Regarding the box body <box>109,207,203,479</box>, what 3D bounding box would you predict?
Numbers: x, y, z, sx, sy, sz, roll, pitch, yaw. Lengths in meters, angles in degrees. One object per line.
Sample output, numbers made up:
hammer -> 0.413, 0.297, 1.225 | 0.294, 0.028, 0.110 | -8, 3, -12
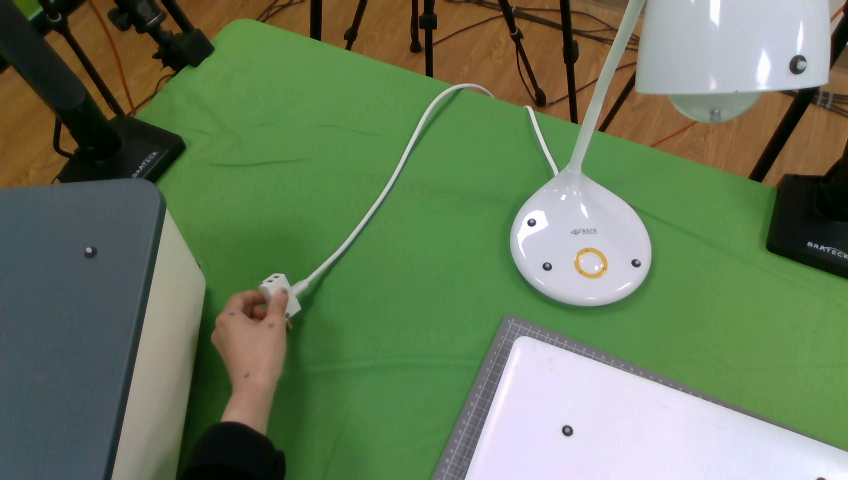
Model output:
box body -> -0.359, 0.142, 0.537 | 0.254, 0.162, 0.360 | -3, 58, -1

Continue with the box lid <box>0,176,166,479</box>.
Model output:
box lid -> -0.361, 0.101, 0.475 | 0.263, 0.015, 0.368 | -3, 59, -1

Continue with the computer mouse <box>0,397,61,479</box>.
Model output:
computer mouse -> -0.388, 0.188, 0.567 | 0.063, 0.041, 0.116 | -29, 22, -6

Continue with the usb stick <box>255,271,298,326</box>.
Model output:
usb stick -> -0.155, 0.064, 0.650 | 0.021, 0.059, 0.027 | 3, 29, 42

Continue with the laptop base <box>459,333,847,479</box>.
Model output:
laptop base -> 0.211, 0.244, 0.548 | 0.353, 0.023, 0.234 | 19, 64, 12

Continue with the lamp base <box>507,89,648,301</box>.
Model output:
lamp base -> 0.170, -0.053, 0.639 | 0.161, 0.182, 0.177 | -13, 56, -7

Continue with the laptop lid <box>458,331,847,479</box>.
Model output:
laptop lid -> 0.210, 0.239, 0.537 | 0.355, 0.013, 0.240 | 20, 63, 13

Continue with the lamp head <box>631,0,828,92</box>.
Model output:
lamp head -> 0.185, -0.155, 0.372 | 0.112, 0.112, 0.123 | -6, 102, -2
